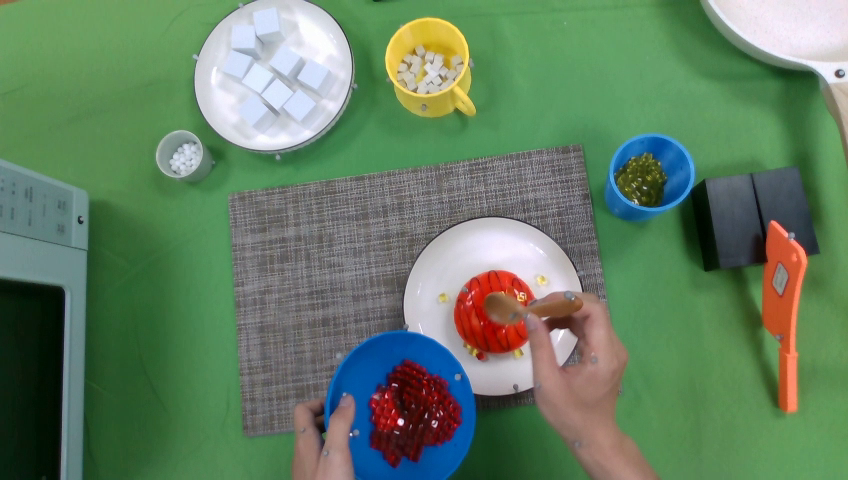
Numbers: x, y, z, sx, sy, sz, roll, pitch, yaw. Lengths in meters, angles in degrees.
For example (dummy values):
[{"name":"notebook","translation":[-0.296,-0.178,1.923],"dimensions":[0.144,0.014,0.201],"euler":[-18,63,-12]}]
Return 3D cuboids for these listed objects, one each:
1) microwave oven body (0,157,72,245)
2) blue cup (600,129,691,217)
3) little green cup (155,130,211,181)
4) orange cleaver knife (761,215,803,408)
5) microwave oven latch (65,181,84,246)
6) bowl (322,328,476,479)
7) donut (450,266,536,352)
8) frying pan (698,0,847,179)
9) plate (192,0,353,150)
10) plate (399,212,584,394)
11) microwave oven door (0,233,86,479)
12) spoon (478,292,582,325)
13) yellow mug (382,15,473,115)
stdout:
[{"name":"microwave oven body","translation":[-0.593,0.139,0.654],"dimensions":[0.326,0.261,0.440],"euler":[-5,82,5]},{"name":"blue cup","translation":[0.238,-0.066,0.677],"dimensions":[0.092,0.100,0.092],"euler":[-1,80,5]},{"name":"little green cup","translation":[-0.305,-0.105,0.772],"dimensions":[0.061,0.039,0.061],"euler":[-1,82,6]},{"name":"orange cleaver knife","translation":[0.381,0.079,0.651],"dimensions":[0.012,0.077,0.212],"euler":[-8,110,5]},{"name":"microwave oven latch","translation":[-0.447,-0.033,0.761],"dimensions":[0.030,0.029,0.079],"euler":[-2,82,5]},{"name":"bowl","translation":[-0.034,0.168,0.601],"dimensions":[0.152,0.077,0.150],"euler":[8,69,-21]},{"name":"donut","translation":[0.079,0.079,0.691],"dimensions":[0.099,0.048,0.099],"euler":[-1,86,7]},{"name":"frying pan","translation":[0.451,-0.235,0.676],"dimensions":[0.306,0.103,0.485],"euler":[-3,74,7]},{"name":"plate","translation":[-0.190,-0.212,0.777],"dimensions":[0.207,0.039,0.207],"euler":[-1,82,6]},{"name":"plate","translation":[0.077,0.072,0.703],"dimensions":[0.209,0.038,0.208],"euler":[-1,83,6]},{"name":"microwave oven door","translation":[-0.446,0.169,0.629],"dimensions":[0.039,0.245,0.354],"euler":[-5,81,6]},{"name":"spoon","translation":[0.090,0.060,0.533],"dimensions":[0.021,0.193,0.041],"euler":[-42,94,-13]},{"name":"yellow mug","translation":[0.013,-0.202,0.740],"dimensions":[0.100,0.064,0.130],"euler":[-44,81,-2]}]
